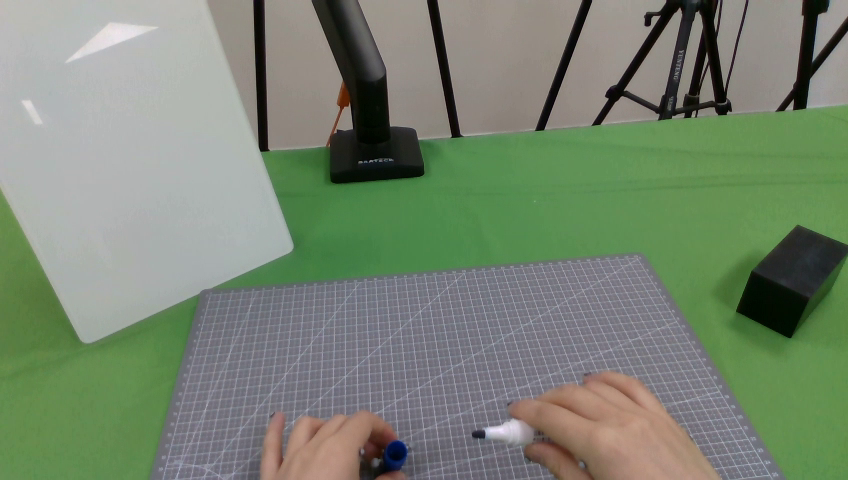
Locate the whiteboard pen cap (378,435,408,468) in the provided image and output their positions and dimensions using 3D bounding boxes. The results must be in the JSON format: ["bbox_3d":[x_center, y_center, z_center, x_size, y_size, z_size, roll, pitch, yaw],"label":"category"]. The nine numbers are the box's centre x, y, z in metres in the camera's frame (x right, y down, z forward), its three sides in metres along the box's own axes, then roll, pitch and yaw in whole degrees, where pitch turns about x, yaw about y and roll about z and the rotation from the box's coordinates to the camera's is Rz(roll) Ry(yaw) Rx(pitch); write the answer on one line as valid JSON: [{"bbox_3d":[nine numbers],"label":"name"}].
[{"bbox_3d":[-0.021,0.146,0.422,0.018,0.033,0.018,8,55,-11],"label":"whiteboard pen cap"}]

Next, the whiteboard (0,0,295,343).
[{"bbox_3d":[-0.295,-0.098,0.593,0.217,0.307,0.142,-27,25,-29],"label":"whiteboard"}]

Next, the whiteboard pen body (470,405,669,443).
[{"bbox_3d":[0.094,0.117,0.381,0.141,0.017,0.017,2,35,-19],"label":"whiteboard pen body"}]
